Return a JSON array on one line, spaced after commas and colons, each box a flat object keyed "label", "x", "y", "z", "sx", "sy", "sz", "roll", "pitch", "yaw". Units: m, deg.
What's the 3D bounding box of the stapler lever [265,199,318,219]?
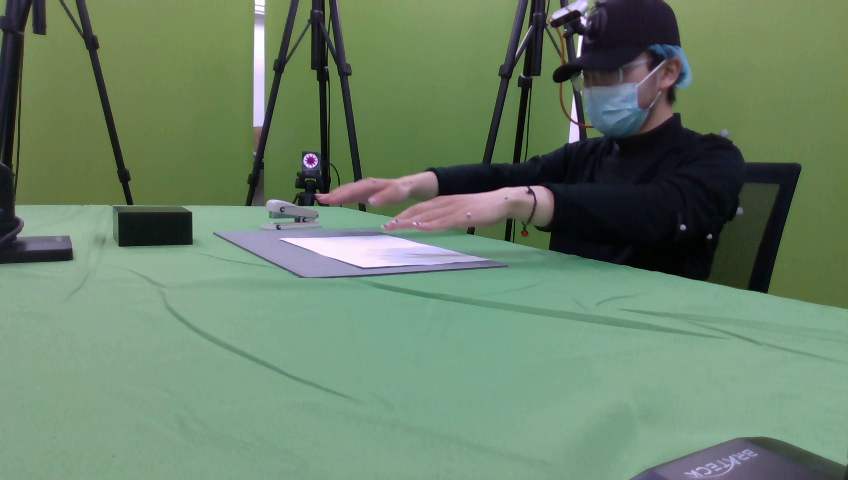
[{"label": "stapler lever", "x": -0.263, "y": -0.061, "z": 1.204, "sx": 0.026, "sy": 0.040, "sz": 0.119, "roll": 11, "pitch": 10, "yaw": 38}]

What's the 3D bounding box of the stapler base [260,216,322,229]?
[{"label": "stapler base", "x": -0.265, "y": -0.037, "z": 1.206, "sx": 0.041, "sy": 0.024, "sz": 0.131, "roll": 11, "pitch": 9, "yaw": 38}]
